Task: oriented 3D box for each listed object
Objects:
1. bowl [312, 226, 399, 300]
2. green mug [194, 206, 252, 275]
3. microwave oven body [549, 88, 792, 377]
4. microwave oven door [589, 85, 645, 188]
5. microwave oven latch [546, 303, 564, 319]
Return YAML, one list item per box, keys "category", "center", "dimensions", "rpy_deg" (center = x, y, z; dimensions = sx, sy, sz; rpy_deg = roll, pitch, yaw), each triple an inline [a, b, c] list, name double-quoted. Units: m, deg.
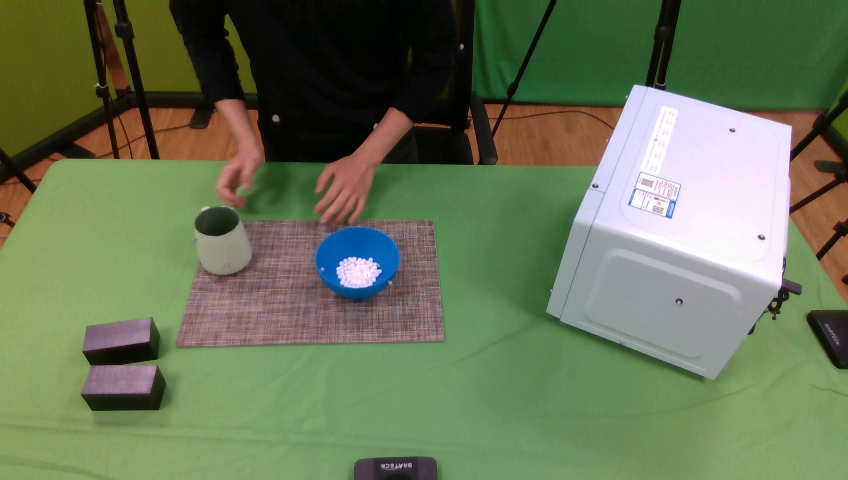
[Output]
- category: "bowl"
  center: [-0.121, 0.054, 1.091]
  dimensions: [0.151, 0.077, 0.150]
  rpy_deg: [2, 46, -2]
- category: "green mug"
  center: [-0.377, -0.008, 1.112]
  dimensions: [0.092, 0.105, 0.124]
  rpy_deg: [-26, 53, -26]
- category: "microwave oven body"
  center: [0.456, -0.028, 1.088]
  dimensions: [0.325, 0.261, 0.440]
  rpy_deg: [20, 47, 16]
- category: "microwave oven door"
  center: [0.342, -0.107, 1.149]
  dimensions: [0.039, 0.245, 0.354]
  rpy_deg: [20, 48, 15]
- category: "microwave oven latch"
  center: [0.242, 0.102, 1.081]
  dimensions: [0.030, 0.029, 0.079]
  rpy_deg: [21, 48, 17]
